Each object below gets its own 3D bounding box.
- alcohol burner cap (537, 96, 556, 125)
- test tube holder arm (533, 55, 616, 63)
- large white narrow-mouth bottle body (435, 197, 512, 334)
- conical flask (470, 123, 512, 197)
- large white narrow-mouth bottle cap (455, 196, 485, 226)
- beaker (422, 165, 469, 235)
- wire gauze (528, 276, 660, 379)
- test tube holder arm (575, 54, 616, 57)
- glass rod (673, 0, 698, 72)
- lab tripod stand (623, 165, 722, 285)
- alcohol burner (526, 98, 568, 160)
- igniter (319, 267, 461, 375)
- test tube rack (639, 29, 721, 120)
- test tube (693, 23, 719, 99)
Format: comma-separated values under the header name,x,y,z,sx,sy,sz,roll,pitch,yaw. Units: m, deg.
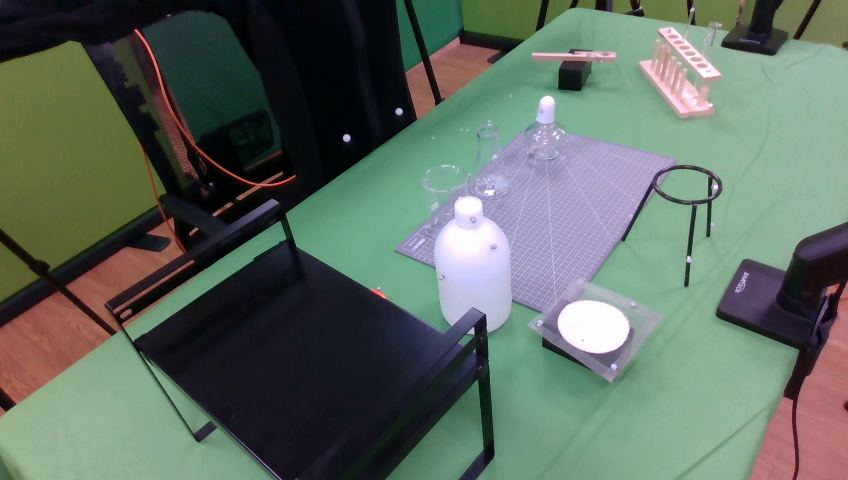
name,x,y,z,sx,sy,sz,roll,pitch,yaw
alcohol burner cap,0.223,-0.237,1.095,0.034,0.048,0.033,0,43,1
test tube holder arm,0.329,-0.398,1.327,0.178,0.015,0.013,5,50,15
large white narrow-mouth bottle body,0.066,0.028,0.805,0.102,0.195,0.101,-4,40,4
conical flask,0.115,-0.139,1.046,0.075,0.122,0.075,-4,40,4
large white narrow-mouth bottle cap,0.057,-0.036,0.749,0.038,0.024,0.037,-4,40,4
beaker,0.041,-0.063,0.986,0.073,0.101,0.084,20,47,29
wire gauze,0.214,0.103,0.763,0.124,0.011,0.122,30,52,35
test tube holder arm,0.373,-0.398,1.318,0.087,0.015,0.010,5,51,15
glass rod,0.536,-0.425,1.244,0.008,0.200,0.008,0,48,0
lab tripod stand,0.365,-0.030,0.875,0.148,0.132,0.147,-6,41,6
alcohol burner,0.228,-0.210,1.118,0.078,0.119,0.077,-5,43,5
igniter,-0.060,0.108,0.862,0.274,0.025,0.057,28,62,35
test tube rack,0.527,-0.351,1.262,0.067,0.085,0.241,-7,40,1
test tube,0.546,-0.345,1.175,0.017,0.151,0.017,-2,39,2
